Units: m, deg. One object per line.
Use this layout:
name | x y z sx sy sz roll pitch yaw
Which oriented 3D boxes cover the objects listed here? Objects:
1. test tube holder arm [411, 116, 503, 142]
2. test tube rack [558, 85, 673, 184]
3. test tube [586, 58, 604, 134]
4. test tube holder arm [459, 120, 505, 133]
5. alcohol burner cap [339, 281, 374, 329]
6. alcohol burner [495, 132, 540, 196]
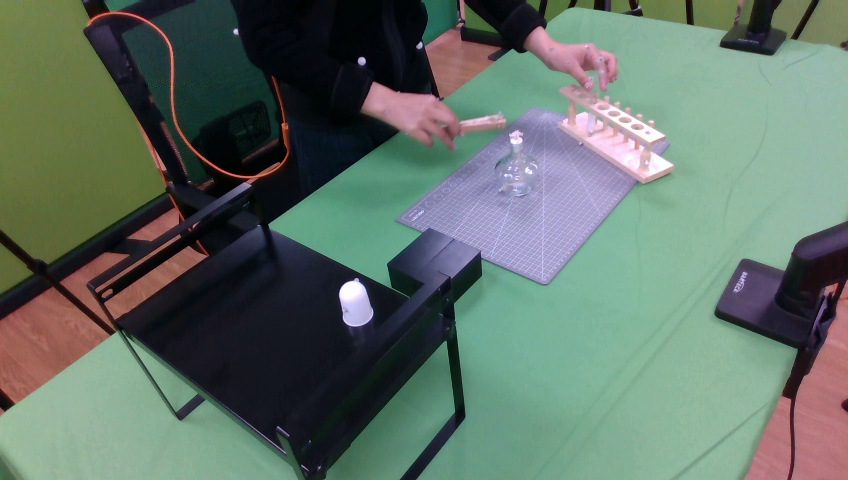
test tube holder arm | 0.059 -0.196 1.063 0.179 0.015 0.013 -14 52 -21
test tube rack | 0.348 -0.203 1.108 0.067 0.085 0.240 -22 42 -17
test tube | 0.310 -0.259 1.102 0.017 0.151 0.017 -3 43 3
test tube holder arm | 0.103 -0.201 1.075 0.088 0.015 0.010 -9 50 -17
alcohol burner cap | -0.071 0.063 0.617 0.034 0.048 0.033 -4 39 4
alcohol burner | 0.160 -0.135 1.035 0.078 0.119 0.077 -5 42 5
